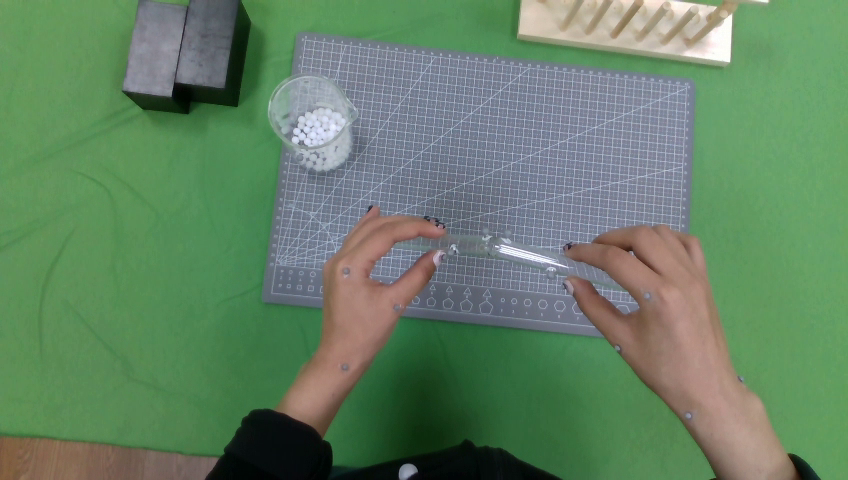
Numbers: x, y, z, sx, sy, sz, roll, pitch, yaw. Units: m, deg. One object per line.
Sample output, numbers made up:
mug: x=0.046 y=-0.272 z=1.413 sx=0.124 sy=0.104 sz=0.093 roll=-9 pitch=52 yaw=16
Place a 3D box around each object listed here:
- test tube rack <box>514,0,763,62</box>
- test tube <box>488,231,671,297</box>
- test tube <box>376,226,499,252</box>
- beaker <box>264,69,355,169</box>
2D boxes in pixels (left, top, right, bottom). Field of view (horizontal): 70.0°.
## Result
test tube rack: x=0.227 y=-0.256 z=0.655 sx=0.242 sy=0.085 sz=0.066 roll=7 pitch=82 yaw=-2
test tube: x=0.119 y=0.019 z=0.452 sx=0.151 sy=0.017 sz=0.017 roll=15 pitch=82 yaw=-13
test tube: x=0.005 y=-0.002 z=0.498 sx=0.017 sy=0.149 sz=0.017 roll=-3 pitch=95 yaw=-38
beaker: x=-0.109 y=-0.116 z=0.608 sx=0.084 sy=0.100 sz=0.074 roll=-2 pitch=83 yaw=-4
